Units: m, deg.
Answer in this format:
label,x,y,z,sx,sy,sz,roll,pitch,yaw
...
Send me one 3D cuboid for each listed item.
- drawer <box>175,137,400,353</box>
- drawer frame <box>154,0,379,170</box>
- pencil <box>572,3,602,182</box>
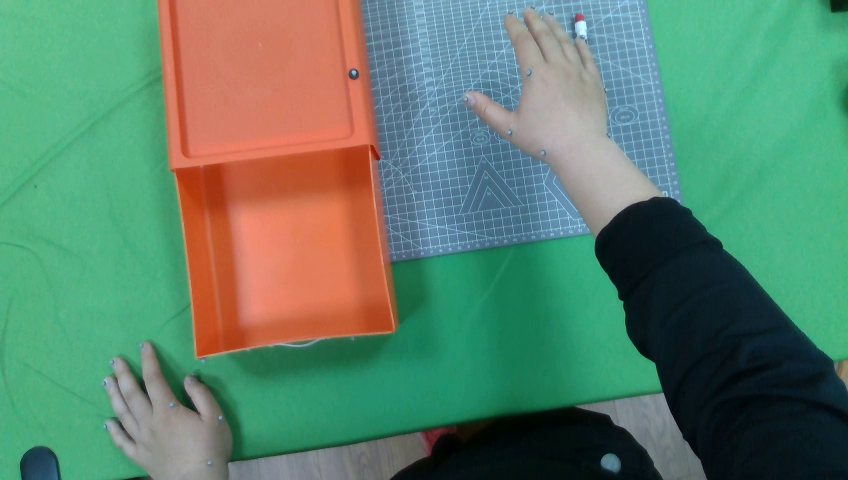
label,x,y,z,sx,sy,sz,roll,pitch,yaw
drawer,-0.136,-0.004,0.616,0.194,0.073,0.211,-8,88,2
drawer frame,-0.161,-0.182,0.624,0.201,0.083,0.213,-9,85,2
pencil,0.175,-0.157,0.646,0.012,0.012,0.193,-7,87,2
